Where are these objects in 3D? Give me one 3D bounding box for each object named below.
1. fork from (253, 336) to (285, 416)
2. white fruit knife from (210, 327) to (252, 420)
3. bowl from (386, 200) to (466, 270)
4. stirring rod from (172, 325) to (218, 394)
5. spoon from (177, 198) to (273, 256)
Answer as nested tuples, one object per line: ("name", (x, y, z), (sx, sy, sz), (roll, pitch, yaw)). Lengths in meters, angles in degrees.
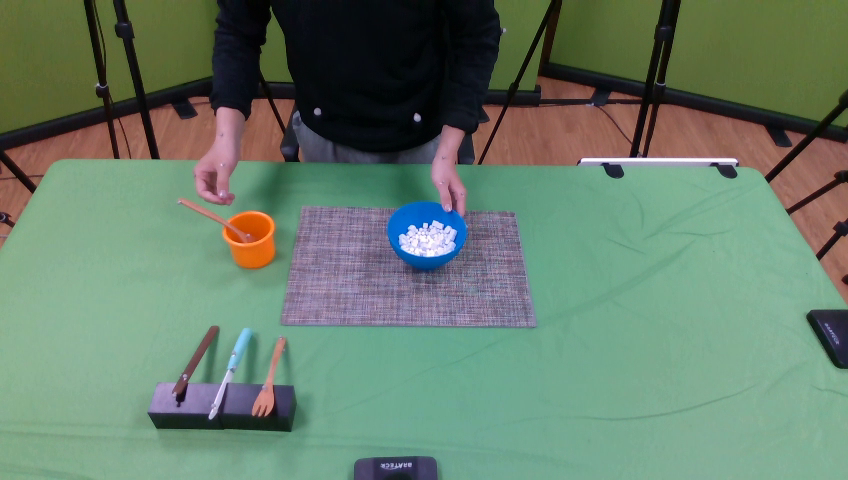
("fork", (-0.235, 0.206, 0.938), (0.028, 0.019, 0.206), (-2, 26, -3))
("white fruit knife", (-0.298, 0.200, 0.937), (0.016, 0.027, 0.206), (0, 30, 0))
("bowl", (0.001, 0.003, 1.150), (0.151, 0.077, 0.150), (2, 46, -2))
("stirring rod", (-0.361, 0.185, 0.962), (0.014, 0.006, 0.175), (1, 26, 0))
("spoon", (-0.361, -0.025, 1.107), (0.195, 0.021, 0.041), (39, 34, -32))
